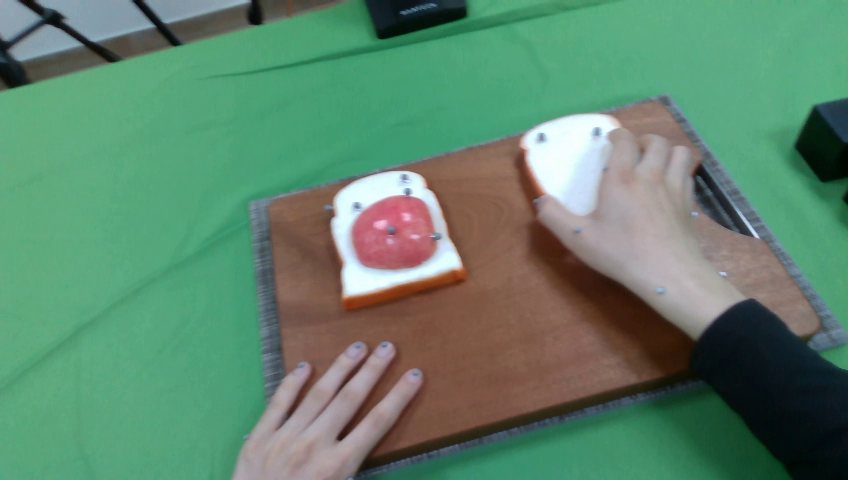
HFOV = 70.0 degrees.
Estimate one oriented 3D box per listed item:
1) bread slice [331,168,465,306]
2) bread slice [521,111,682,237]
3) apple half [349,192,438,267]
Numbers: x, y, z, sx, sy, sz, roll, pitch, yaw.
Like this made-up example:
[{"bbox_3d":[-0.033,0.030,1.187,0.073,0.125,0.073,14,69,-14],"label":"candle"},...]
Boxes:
[{"bbox_3d":[-0.032,-0.010,0.532,0.105,0.019,0.130,-15,54,-4],"label":"bread slice"},{"bbox_3d":[0.145,-0.064,0.541,0.107,0.018,0.133,-18,51,-4],"label":"bread slice"},{"bbox_3d":[-0.028,-0.015,0.505,0.081,0.033,0.080,-3,53,4],"label":"apple half"}]
